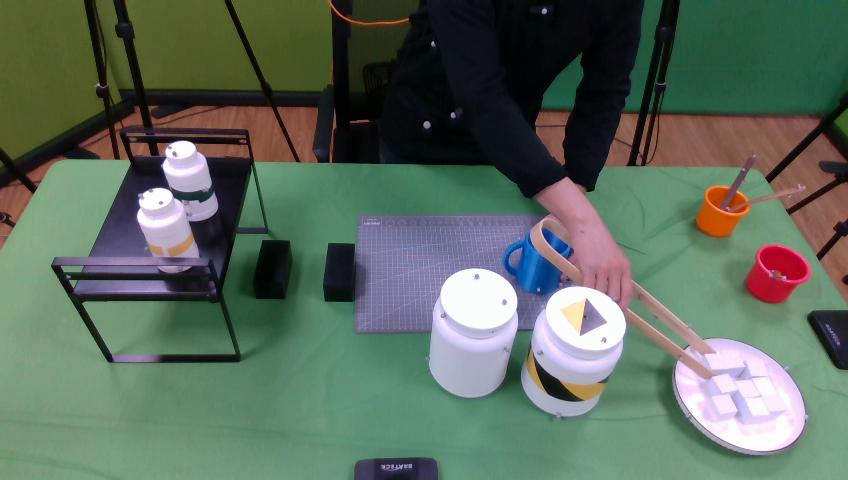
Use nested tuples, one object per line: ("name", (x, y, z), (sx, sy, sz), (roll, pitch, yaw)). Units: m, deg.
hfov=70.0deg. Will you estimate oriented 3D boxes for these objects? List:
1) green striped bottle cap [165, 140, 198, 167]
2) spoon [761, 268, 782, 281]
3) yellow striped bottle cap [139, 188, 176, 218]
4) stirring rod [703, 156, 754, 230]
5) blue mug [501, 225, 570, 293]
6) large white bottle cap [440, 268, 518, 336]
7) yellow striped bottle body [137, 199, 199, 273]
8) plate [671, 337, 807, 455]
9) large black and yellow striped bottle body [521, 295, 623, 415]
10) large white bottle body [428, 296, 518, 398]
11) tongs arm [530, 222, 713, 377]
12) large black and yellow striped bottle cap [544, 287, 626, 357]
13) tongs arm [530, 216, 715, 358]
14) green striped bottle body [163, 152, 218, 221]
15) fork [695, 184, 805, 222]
("green striped bottle cap", (-0.361, -0.128, 0.902), (0.044, 0.020, 0.044), (3, 47, -3))
("spoon", (0.638, 0.060, 1.105), (0.041, 0.021, 0.194), (38, 11, 24))
("yellow striped bottle cap", (-0.364, -0.051, 0.827), (0.044, 0.019, 0.044), (1, 47, -1))
("stirring rod", (0.631, -0.098, 1.258), (0.014, 0.006, 0.176), (33, 95, 29))
("blue mug", (0.201, 0.034, 1.119), (0.116, 0.106, 0.082), (3, 46, -1))
("large white bottle cap", (0.080, 0.089, 0.888), (0.115, 0.018, 0.114), (2, 47, -2))
("yellow striped bottle body", (-0.366, -0.014, 0.864), (0.063, 0.121, 0.062), (2, 46, -2))
("plate", (0.504, 0.253, 0.984), (0.208, 0.039, 0.206), (2, 46, -2))
("large black and yellow striped bottle body", (0.228, 0.173, 0.937), (0.131, 0.185, 0.130), (2, 47, -2))
("large white bottle body", (0.075, 0.147, 0.950), (0.131, 0.185, 0.130), (2, 46, -2))
("tongs arm", (0.317, 0.104, 0.967), (0.388, 0.028, 0.028), (38, 54, -9))
("large black and yellow striped bottle cap", (0.232, 0.116, 0.876), (0.115, 0.019, 0.114), (2, 46, -1))
("tongs arm", (0.328, 0.085, 0.985), (0.385, 0.026, 0.050), (40, 50, -7))
("green striped bottle body", (-0.363, -0.092, 0.939), (0.063, 0.120, 0.063), (2, 46, -2))
("fork", (0.657, -0.075, 1.230), (0.207, 0.019, 0.028), (-23, 34, 37))
